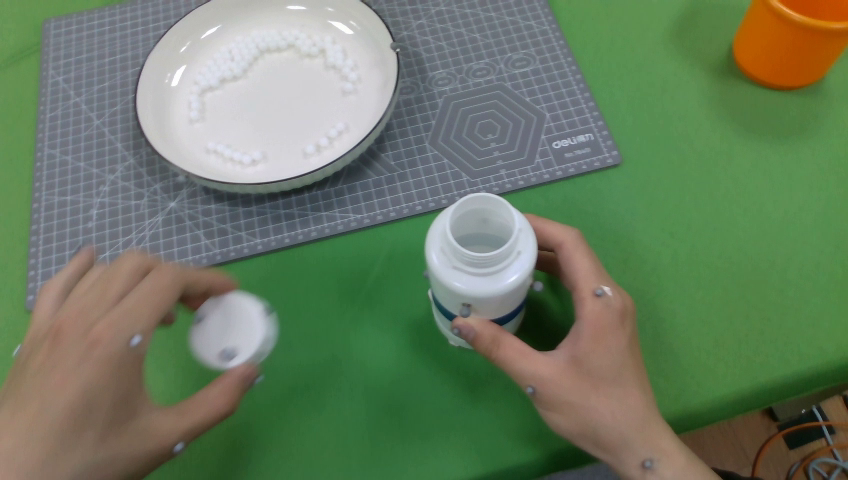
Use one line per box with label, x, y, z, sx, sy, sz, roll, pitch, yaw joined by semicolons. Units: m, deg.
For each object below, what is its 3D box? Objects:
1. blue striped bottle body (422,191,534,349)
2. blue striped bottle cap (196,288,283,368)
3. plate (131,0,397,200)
blue striped bottle body;0.032;0.018;0.364;0.063;0.122;0.062;-2;62;4
blue striped bottle cap;-0.103;0.049;0.337;0.044;0.021;0.044;-2;77;9
plate;-0.123;-0.117;0.487;0.207;0.039;0.206;-1;63;3
